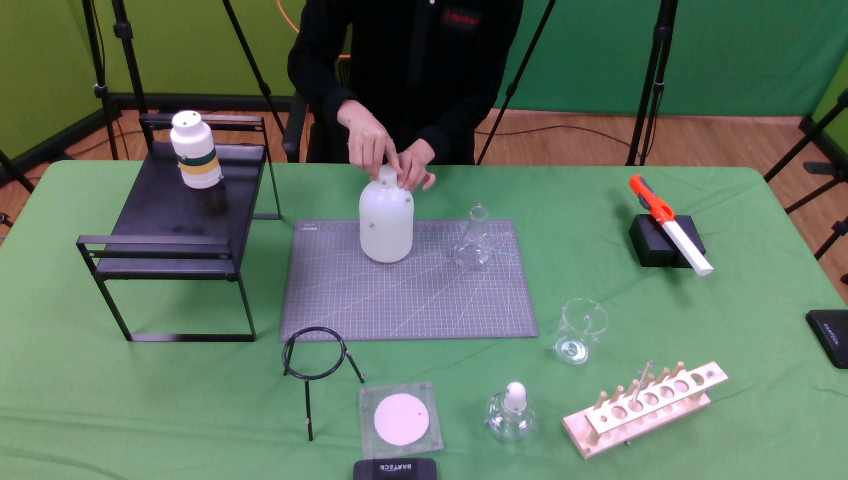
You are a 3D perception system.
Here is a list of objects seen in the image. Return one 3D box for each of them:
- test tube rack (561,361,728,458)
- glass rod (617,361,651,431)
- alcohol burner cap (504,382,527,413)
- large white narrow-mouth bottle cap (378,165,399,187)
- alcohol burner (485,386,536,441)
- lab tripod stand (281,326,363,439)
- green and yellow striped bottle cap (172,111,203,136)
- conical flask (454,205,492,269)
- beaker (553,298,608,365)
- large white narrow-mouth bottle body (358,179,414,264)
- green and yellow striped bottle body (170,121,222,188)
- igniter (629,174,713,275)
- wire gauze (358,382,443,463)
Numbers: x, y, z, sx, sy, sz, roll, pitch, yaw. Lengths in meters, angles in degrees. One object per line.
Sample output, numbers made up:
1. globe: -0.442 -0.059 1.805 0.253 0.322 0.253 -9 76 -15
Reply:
1. test tube rack: 0.341 0.248 0.940 0.243 0.085 0.066 -15 49 -18
2. glass rod: 0.297 0.227 0.865 0.008 0.201 0.008 -1 47 1
3. alcohol burner cap: 0.133 0.225 0.877 0.034 0.048 0.033 -4 47 5
4. large white narrow-mouth bottle cap: -0.062 -0.112 1.058 0.038 0.024 0.037 4 46 -4
5. alcohol burner: 0.131 0.249 0.904 0.078 0.120 0.077 1 48 -1
6. lab tripod stand: -0.166 0.203 0.913 0.148 0.132 0.147 1 47 -1
7. green and yellow striped bottle cap: -0.374 -0.185 0.957 0.045 0.020 0.045 3 46 -3
8. conical flask: 0.097 -0.009 1.140 0.075 0.122 0.075 2 46 -2
9. beaker: 0.260 0.154 1.015 0.073 0.101 0.084 37 54 27
10. large white narrow-mouth bottle body: -0.070 -0.052 1.121 0.102 0.195 0.101 4 46 -3
11. green and yellow striped bottle body: -0.375 -0.149 0.995 0.063 0.120 0.063 2 46 -2
12. igniter: 0.481 -0.039 1.202 0.057 0.025 0.274 -2 46 -21
13. wire gauze: -0.039 0.277 0.937 0.121 0.011 0.124 -4 47 -7
